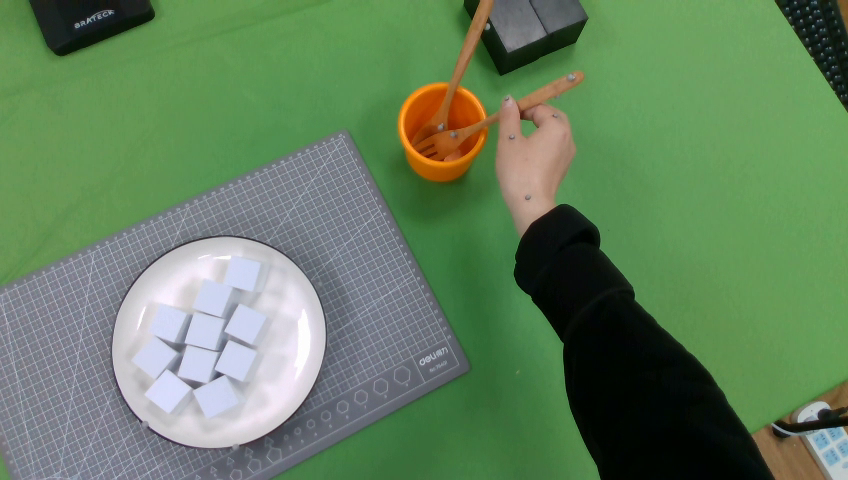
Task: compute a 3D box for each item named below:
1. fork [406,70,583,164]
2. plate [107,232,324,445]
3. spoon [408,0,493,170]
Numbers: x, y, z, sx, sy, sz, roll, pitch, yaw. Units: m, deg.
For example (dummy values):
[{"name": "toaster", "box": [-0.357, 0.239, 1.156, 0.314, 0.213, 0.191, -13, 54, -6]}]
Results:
[{"name": "fork", "box": [0.063, -0.120, 0.602, 0.207, 0.018, 0.028, -20, 93, 38]}, {"name": "plate", "box": [-0.204, 0.096, 0.608, 0.208, 0.039, 0.206, 1, 79, -3]}, {"name": "spoon", "box": [0.029, -0.156, 0.615, 0.041, 0.195, 0.021, 29, 36, 7]}]
